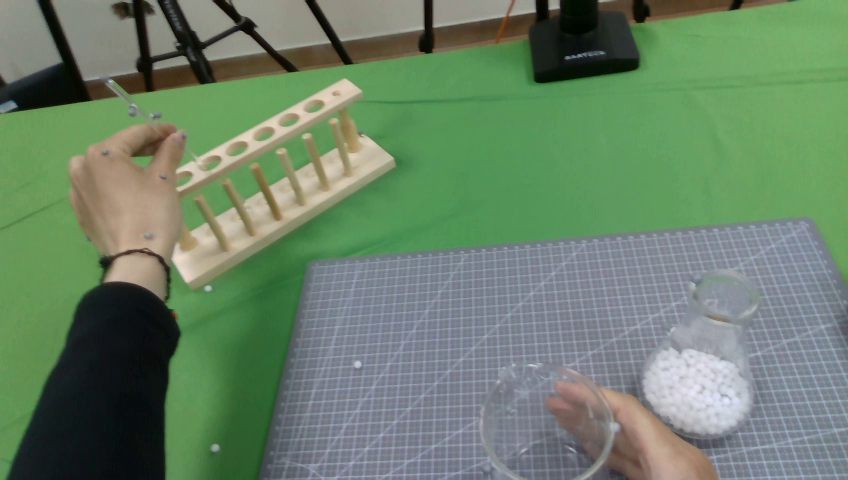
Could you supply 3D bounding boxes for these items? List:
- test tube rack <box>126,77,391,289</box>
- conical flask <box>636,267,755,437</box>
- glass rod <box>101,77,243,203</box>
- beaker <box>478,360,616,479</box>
[{"bbox_3d":[-0.157,-0.062,0.610,0.242,0.086,0.066,-34,50,-17],"label":"test tube rack"},{"bbox_3d":[0.179,0.069,0.389,0.075,0.123,0.074,-7,48,8],"label":"conical flask"},{"bbox_3d":[-0.216,-0.080,0.545,0.008,0.201,0.008,-6,64,13],"label":"glass rod"},{"bbox_3d":[0.074,0.130,0.375,0.074,0.101,0.083,-23,47,-8],"label":"beaker"}]
